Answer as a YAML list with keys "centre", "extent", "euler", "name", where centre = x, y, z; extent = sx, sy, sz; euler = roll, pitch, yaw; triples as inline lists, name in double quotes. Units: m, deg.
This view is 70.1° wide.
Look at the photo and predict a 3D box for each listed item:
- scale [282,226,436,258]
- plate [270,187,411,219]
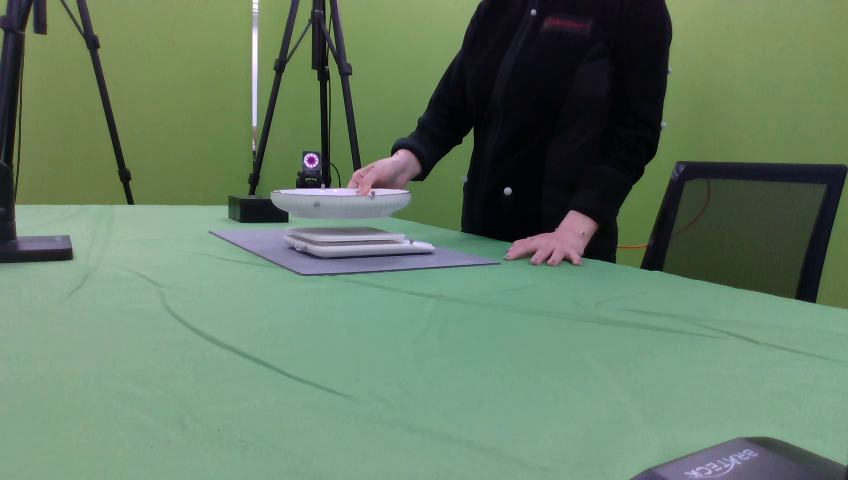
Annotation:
- centre: [-0.098, 0.000, 0.914]
  extent: [0.202, 0.031, 0.148]
  euler: [-2, 9, -33]
  name: "scale"
- centre: [-0.123, -0.056, 0.905]
  extent: [0.209, 0.038, 0.209]
  euler: [0, 7, 0]
  name: "plate"
